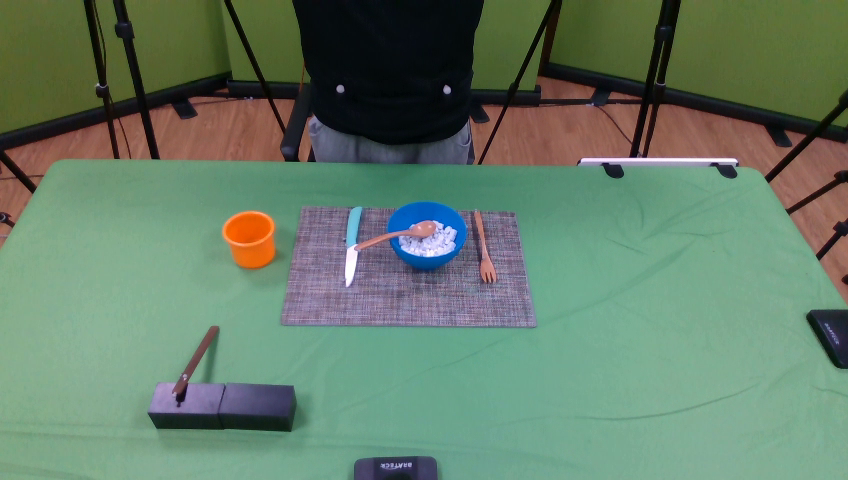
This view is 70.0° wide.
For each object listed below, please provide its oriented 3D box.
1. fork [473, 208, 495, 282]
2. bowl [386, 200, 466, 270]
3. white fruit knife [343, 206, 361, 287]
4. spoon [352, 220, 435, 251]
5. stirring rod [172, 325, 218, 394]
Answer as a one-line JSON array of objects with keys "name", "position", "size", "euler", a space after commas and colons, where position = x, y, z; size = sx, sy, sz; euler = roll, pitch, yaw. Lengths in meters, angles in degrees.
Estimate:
[{"name": "fork", "position": [0.115, 0.007, 1.196], "size": [0.028, 0.019, 0.206], "euler": [-7, 48, 1]}, {"name": "bowl", "position": [0.001, 0.003, 1.150], "size": [0.151, 0.077, 0.150], "euler": [2, 46, -2]}, {"name": "white fruit knife", "position": [-0.143, 0.010, 1.175], "size": [0.027, 0.016, 0.206], "euler": [-6, 47, 6]}, {"name": "spoon", "position": [-0.054, -0.009, 1.109], "size": [0.194, 0.022, 0.041], "euler": [-14, 40, -42]}, {"name": "stirring rod", "position": [-0.360, 0.185, 0.962], "size": [0.014, 0.006, 0.175], "euler": [0, 26, 1]}]
